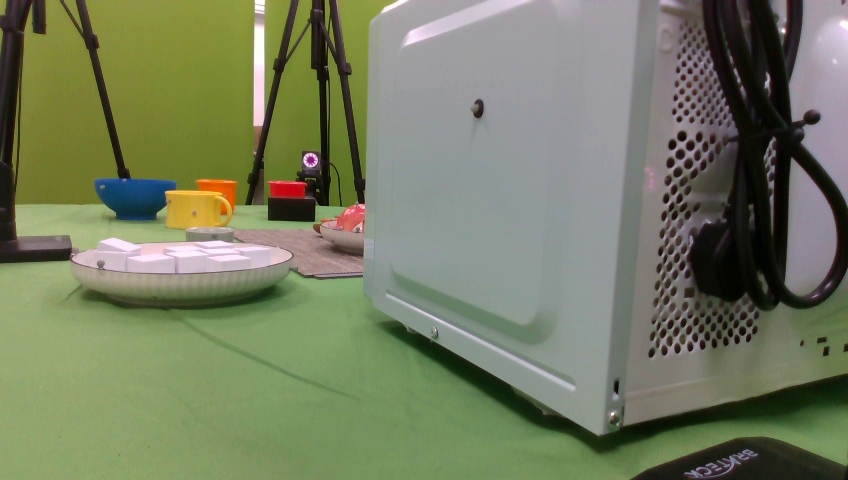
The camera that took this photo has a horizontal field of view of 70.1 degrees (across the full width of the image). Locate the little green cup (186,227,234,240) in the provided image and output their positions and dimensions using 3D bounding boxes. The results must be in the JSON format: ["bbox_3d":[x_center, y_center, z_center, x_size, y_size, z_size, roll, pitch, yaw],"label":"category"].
[{"bbox_3d":[-0.284,0.005,0.805,0.061,0.038,0.061,2,8,0],"label":"little green cup"}]

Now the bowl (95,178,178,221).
[{"bbox_3d":[-0.576,-0.081,1.217,0.151,0.077,0.151,3,8,0],"label":"bowl"}]

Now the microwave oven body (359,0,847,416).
[{"bbox_3d":[0.211,-0.047,0.474,0.444,0.260,0.324,-1,8,-28],"label":"microwave oven body"}]

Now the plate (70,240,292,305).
[{"bbox_3d":[-0.242,0.032,0.618,0.208,0.039,0.207,2,8,0],"label":"plate"}]

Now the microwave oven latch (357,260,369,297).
[{"bbox_3d":[-0.019,0.033,0.531,0.079,0.029,0.030,-1,7,-27],"label":"microwave oven latch"}]

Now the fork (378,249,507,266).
[{"bbox_3d":[0.031,0.022,0.819,0.208,0.018,0.028,-5,4,-33],"label":"fork"}]

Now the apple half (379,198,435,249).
[{"bbox_3d":[-0.020,-0.030,0.891,0.081,0.053,0.074,-2,49,-26],"label":"apple half"}]

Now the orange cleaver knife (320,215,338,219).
[{"bbox_3d":[-0.142,-0.057,1.394,0.077,0.012,0.212,2,7,44],"label":"orange cleaver knife"}]

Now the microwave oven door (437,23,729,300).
[{"bbox_3d":[0.181,-0.072,0.621,0.358,0.243,0.039,-2,9,-29],"label":"microwave oven door"}]

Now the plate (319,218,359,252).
[{"bbox_3d":[-0.059,-0.007,0.939,0.209,0.038,0.209,3,8,0],"label":"plate"}]

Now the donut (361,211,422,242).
[{"bbox_3d":[-0.051,-0.020,0.958,0.099,0.048,0.099,5,7,0],"label":"donut"}]

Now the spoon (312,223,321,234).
[{"bbox_3d":[-0.112,-0.022,1.095,0.195,0.021,0.041,-4,-13,-37],"label":"spoon"}]

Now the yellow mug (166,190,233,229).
[{"bbox_3d":[-0.415,-0.057,1.132,0.130,0.064,0.100,6,8,16],"label":"yellow mug"}]

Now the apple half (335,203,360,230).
[{"bbox_3d":[-0.116,-0.038,0.959,0.081,0.033,0.081,-37,8,7],"label":"apple half"}]
